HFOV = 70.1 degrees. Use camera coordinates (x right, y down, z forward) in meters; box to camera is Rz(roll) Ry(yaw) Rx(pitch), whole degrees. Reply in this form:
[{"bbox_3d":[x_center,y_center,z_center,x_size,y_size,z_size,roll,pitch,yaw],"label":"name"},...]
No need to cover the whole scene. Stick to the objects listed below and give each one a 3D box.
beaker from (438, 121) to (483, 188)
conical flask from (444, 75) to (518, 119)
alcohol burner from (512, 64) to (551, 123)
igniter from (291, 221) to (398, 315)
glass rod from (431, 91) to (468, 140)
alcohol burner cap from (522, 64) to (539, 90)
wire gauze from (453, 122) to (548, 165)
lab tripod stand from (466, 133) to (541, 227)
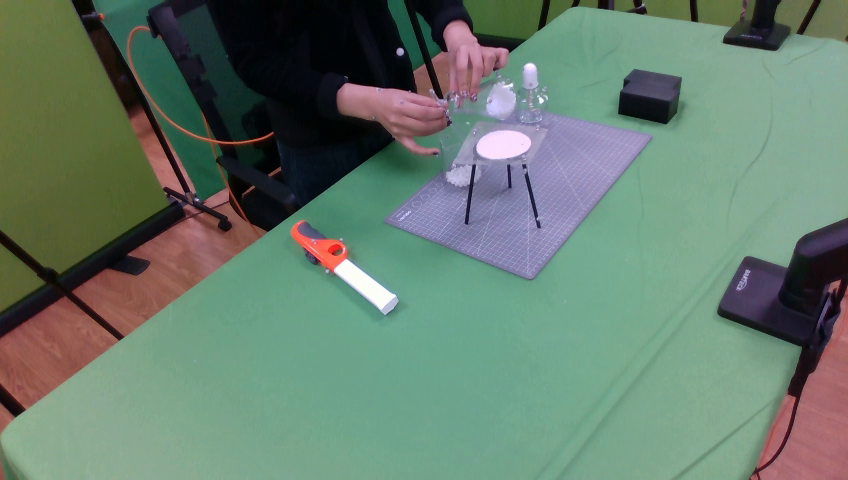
[{"bbox_3d":[0.066,-0.149,1.083,0.073,0.101,0.084,19,48,31],"label":"beaker"},{"bbox_3d":[0.093,-0.239,1.028,0.123,0.075,0.074,-12,37,-30],"label":"conical flask"},{"bbox_3d":[0.215,-0.298,1.220,0.078,0.120,0.077,-7,40,7],"label":"alcohol burner"},{"bbox_3d":[-0.136,0.037,0.962,0.057,0.025,0.274,-41,48,-18],"label":"igniter"},{"bbox_3d":[0.046,-0.203,1.006,0.008,0.201,0.008,-4,77,19],"label":"glass rod"},{"bbox_3d":[0.210,-0.325,1.195,0.034,0.048,0.033,-7,45,7],"label":"alcohol burner cap"},{"bbox_3d":[0.121,-0.150,0.942,0.121,0.011,0.125,8,42,21],"label":"wire gauze"},{"bbox_3d":[0.129,-0.099,0.985,0.148,0.132,0.147,-6,38,6],"label":"lab tripod stand"}]
